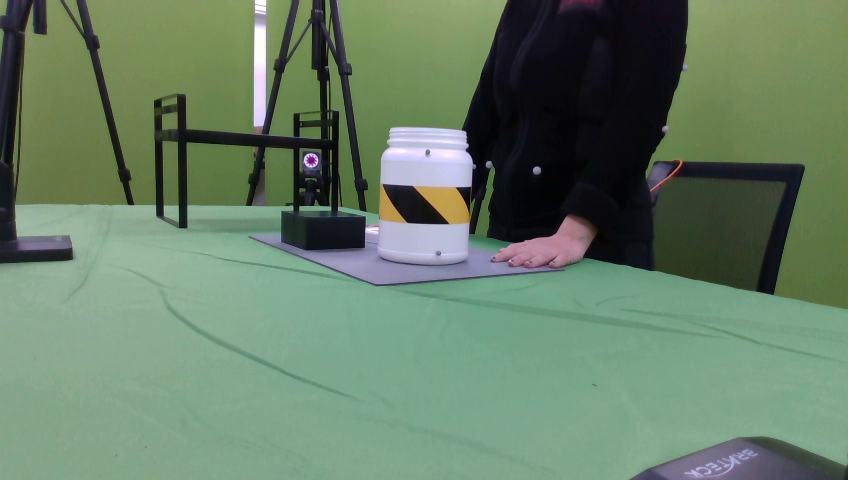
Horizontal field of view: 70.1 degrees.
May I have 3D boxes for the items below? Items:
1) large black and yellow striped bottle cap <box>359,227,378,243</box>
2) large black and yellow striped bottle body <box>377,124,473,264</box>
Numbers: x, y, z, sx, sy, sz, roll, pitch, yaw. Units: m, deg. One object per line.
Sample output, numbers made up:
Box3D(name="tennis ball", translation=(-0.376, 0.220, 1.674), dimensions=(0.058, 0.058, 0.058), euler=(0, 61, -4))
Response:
Box3D(name="large black and yellow striped bottle cap", translation=(-0.054, -0.009, 1.052), dimensions=(0.115, 0.019, 0.115), euler=(1, 7, 0))
Box3D(name="large black and yellow striped bottle body", translation=(0.001, -0.066, 0.851), dimensions=(0.131, 0.184, 0.130), euler=(2, 7, 0))
